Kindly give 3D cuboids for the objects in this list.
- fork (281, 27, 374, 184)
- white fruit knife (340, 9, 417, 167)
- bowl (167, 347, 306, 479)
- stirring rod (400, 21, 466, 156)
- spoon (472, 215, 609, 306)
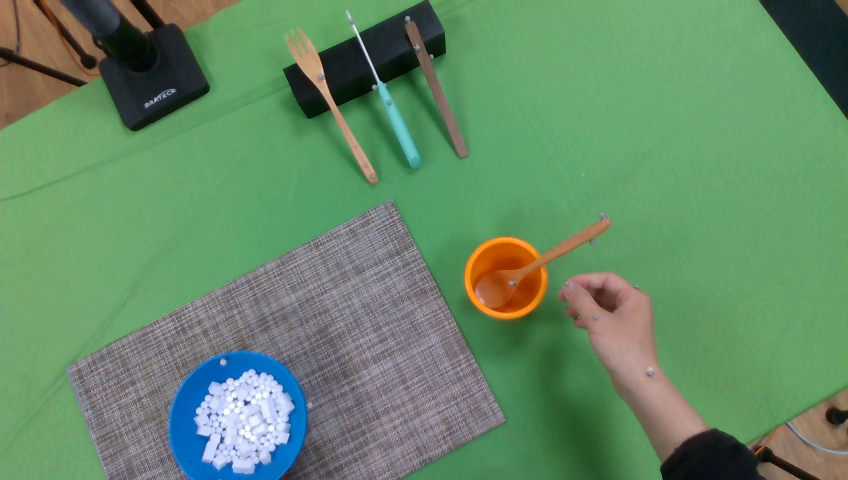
[{"bbox_3d":[-0.115,-0.161,0.745,0.028,0.018,0.208,-30,99,-5],"label":"fork"},{"bbox_3d":[-0.057,-0.186,0.745,0.016,0.027,0.207,-26,95,-5],"label":"white fruit knife"},{"bbox_3d":[-0.198,0.199,0.681,0.151,0.077,0.150,-1,79,4],"label":"bowl"},{"bbox_3d":[0.012,-0.187,0.752,0.014,0.006,0.176,-25,98,-4],"label":"stirring rod"},{"bbox_3d":[0.122,0.025,0.663,0.022,0.194,0.041,-15,75,-45],"label":"spoon"}]
